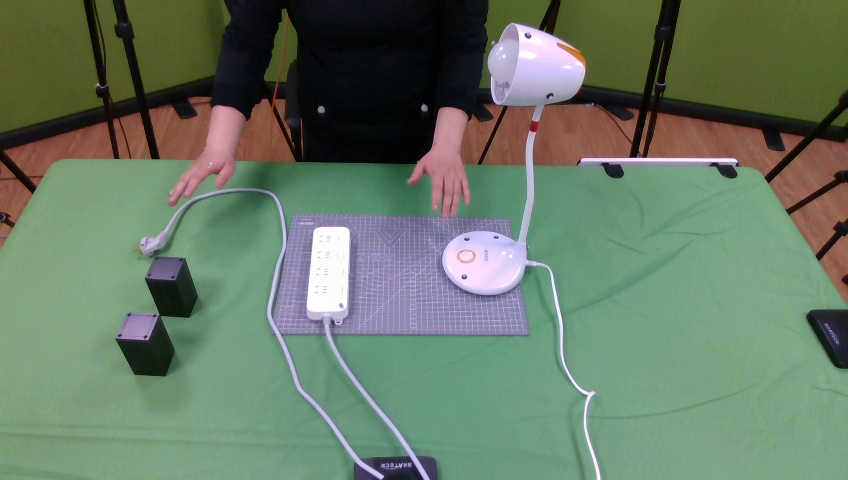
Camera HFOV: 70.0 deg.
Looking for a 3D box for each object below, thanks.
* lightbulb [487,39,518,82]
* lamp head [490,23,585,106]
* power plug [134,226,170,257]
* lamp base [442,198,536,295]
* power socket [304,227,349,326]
[{"bbox_3d":[0.143,-0.252,0.865,0.108,0.060,0.059,9,45,-7],"label":"lightbulb"},{"bbox_3d":[0.165,-0.241,0.872,0.123,0.113,0.111,9,43,-17],"label":"lamp head"},{"bbox_3d":[-0.515,0.005,1.152,0.052,0.035,0.072,-6,24,6],"label":"power plug"},{"bbox_3d":[0.130,-0.012,1.105,0.179,0.181,0.159,-1,46,-9],"label":"lamp base"},{"bbox_3d":[-0.177,0.059,1.115,0.072,0.033,0.225,-1,46,-4],"label":"power socket"}]
